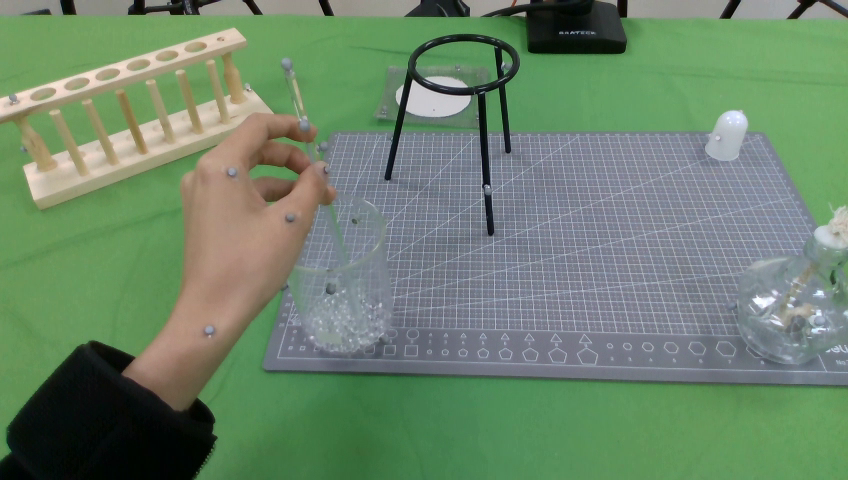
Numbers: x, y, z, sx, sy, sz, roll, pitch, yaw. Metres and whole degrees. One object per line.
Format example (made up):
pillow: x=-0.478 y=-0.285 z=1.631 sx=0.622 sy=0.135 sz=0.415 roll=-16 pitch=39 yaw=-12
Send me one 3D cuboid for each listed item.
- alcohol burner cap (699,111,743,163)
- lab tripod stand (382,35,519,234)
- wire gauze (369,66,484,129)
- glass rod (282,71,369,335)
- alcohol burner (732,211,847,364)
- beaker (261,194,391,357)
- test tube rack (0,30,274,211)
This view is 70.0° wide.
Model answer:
alcohol burner cap: x=0.290 y=-0.103 z=0.588 sx=0.034 sy=0.048 sz=0.033 roll=-1 pitch=45 yaw=1
lab tripod stand: x=0.028 y=-0.097 z=0.528 sx=0.148 sy=0.133 sz=0.147 roll=-2 pitch=47 yaw=3
wire gauze: x=0.006 y=-0.166 z=0.692 sx=0.125 sy=0.011 sz=0.120 roll=3 pitch=44 yaw=7
glass rod: x=-0.059 y=-0.011 z=0.389 sx=0.008 sy=0.201 sz=0.008 roll=-8 pitch=35 yaw=6
alcohol burner: x=0.255 y=0.029 z=0.407 sx=0.078 sy=0.120 sz=0.077 roll=-1 pitch=43 yaw=1
beaker: x=-0.064 y=0.029 z=0.431 sx=0.084 sy=0.101 sz=0.073 roll=-1 pitch=45 yaw=3
test tube rack: x=-0.284 y=-0.125 z=0.607 sx=0.242 sy=0.086 sz=0.066 roll=-26 pitch=50 yaw=-22
